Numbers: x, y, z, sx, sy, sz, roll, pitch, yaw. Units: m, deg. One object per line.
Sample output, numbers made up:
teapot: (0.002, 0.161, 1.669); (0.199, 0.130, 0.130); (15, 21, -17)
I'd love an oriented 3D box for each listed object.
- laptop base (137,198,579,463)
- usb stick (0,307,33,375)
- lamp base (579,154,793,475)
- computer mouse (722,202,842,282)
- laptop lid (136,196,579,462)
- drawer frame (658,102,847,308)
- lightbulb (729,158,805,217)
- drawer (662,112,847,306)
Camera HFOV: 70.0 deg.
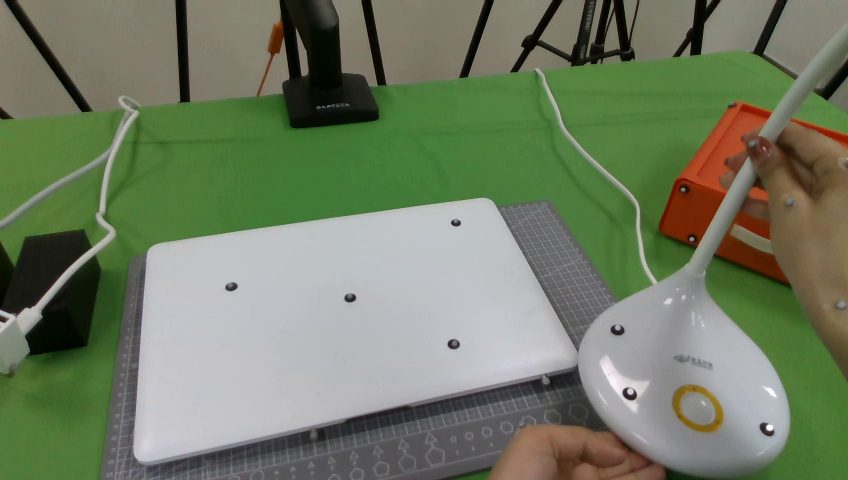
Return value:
laptop base: (-0.065, 0.061, 0.554); (0.355, 0.023, 0.233); (-9, 46, -13)
usb stick: (-0.317, 0.079, 0.459); (0.021, 0.059, 0.027); (19, 41, 2)
lamp base: (0.207, 0.041, 0.431); (0.161, 0.181, 0.177); (5, 38, -2)
computer mouse: (0.370, -0.001, 0.625); (0.116, 0.041, 0.062); (24, 44, 16)
laptop lid: (-0.065, 0.054, 0.544); (0.357, 0.013, 0.239); (-8, 45, -12)
drawer frame: (0.394, -0.052, 0.663); (0.200, 0.083, 0.213); (25, 45, 24)
lightbulb: (0.388, -0.055, 0.680); (0.059, 0.060, 0.107); (0, 25, -3)
drawer: (0.394, -0.048, 0.661); (0.193, 0.074, 0.211); (25, 45, 25)
